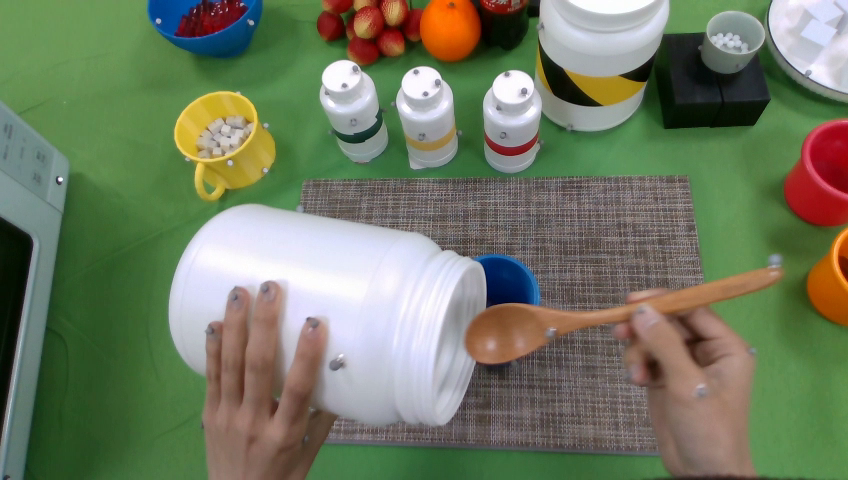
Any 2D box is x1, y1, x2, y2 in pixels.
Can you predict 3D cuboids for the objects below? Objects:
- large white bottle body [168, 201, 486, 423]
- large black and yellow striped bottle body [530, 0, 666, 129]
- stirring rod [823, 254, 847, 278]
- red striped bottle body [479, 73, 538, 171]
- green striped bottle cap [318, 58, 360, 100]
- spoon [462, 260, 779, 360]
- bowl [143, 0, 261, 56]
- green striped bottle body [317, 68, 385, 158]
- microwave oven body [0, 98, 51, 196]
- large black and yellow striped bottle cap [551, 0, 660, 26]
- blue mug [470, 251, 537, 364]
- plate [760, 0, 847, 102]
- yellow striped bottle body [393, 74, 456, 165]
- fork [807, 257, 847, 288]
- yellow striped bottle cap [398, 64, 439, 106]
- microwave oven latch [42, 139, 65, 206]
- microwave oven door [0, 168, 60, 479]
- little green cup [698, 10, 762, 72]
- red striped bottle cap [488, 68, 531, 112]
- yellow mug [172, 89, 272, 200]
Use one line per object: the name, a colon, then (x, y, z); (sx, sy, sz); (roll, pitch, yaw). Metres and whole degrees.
large white bottle body: (-0.060, 0.049, 0.418); (0.184, 0.132, 0.130); (10, 67, 19)
large black and yellow striped bottle body: (0.187, -0.225, 0.668); (0.130, 0.185, 0.129); (-2, 66, 6)
stirring rod: (0.412, 0.050, 0.548); (0.014, 0.006, 0.175); (2, 23, 5)
red striped bottle body: (0.095, -0.133, 0.672); (0.063, 0.121, 0.062); (-4, 64, 9)
green striped bottle cap: (-0.092, -0.174, 0.653); (0.044, 0.020, 0.044); (-1, 66, 3)
spoon: (0.116, 0.043, 0.377); (0.193, 0.021, 0.042); (-14, 103, 20)
bowl: (-0.282, -0.302, 0.812); (0.151, 0.077, 0.150); (-2, 66, 5)
green striped bottle body: (-0.084, -0.152, 0.700); (0.063, 0.120, 0.062); (-2, 66, 5)
microwave oven body: (-0.594, 0.061, 0.578); (0.326, 0.262, 0.438); (-8, 66, 2)
large black and yellow striped bottle cap: (0.178, -0.259, 0.590); (0.115, 0.019, 0.114); (-3, 67, 8)
blue mug: (0.051, 0.076, 0.588); (0.116, 0.107, 0.081); (-29, 65, -6)
plate: (0.509, -0.246, 0.724); (0.209, 0.038, 0.207); (-2, 66, 5)
yellow striped bottle body: (0.001, -0.142, 0.687); (0.063, 0.121, 0.062); (-3, 65, 6)
fork: (0.440, 0.051, 0.536); (0.028, 0.019, 0.205); (-25, 21, -14)
yellow striped bottle cap: (-0.006, -0.164, 0.639); (0.044, 0.019, 0.044); (0, 63, 1)
microwave oven latch: (-0.458, -0.080, 0.732); (0.030, 0.030, 0.078); (-7, 66, 3)
microwave oven door: (-0.445, 0.076, 0.550); (0.039, 0.246, 0.352); (-9, 65, 3)
little green cup: (0.337, -0.220, 0.674); (0.061, 0.039, 0.061); (-1, 64, 3)
red striped bottle cap: (0.088, -0.155, 0.625); (0.044, 0.018, 0.044); (-1, 65, 1)
yellow mug: (-0.246, -0.109, 0.728); (0.100, 0.064, 0.130); (9, 68, 10)
